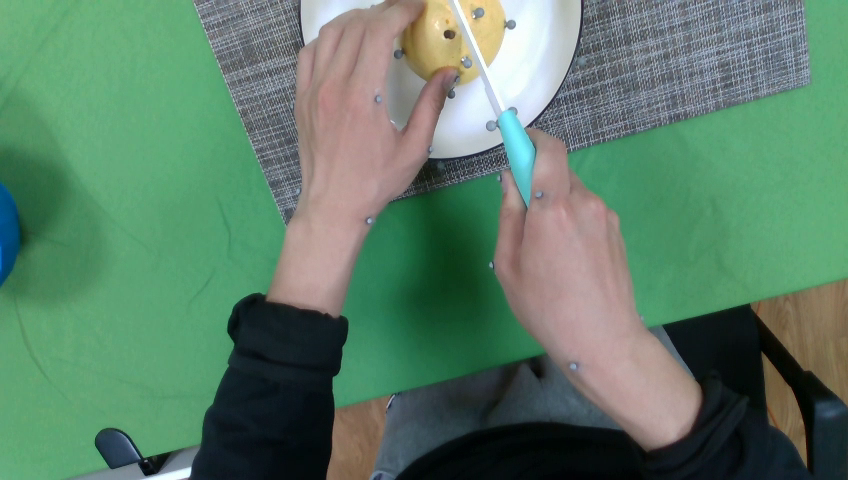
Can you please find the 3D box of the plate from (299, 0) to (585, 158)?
[{"bbox_3d":[0.013,-0.168,0.456,0.207,0.039,0.209,1,111,3],"label":"plate"}]

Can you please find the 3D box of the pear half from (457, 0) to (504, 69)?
[{"bbox_3d":[0.039,-0.156,0.422,0.031,0.087,0.071,-24,106,12],"label":"pear half"}]

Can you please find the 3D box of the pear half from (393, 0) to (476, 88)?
[{"bbox_3d":[0.006,-0.140,0.420,0.056,0.109,0.077,-24,104,11],"label":"pear half"}]

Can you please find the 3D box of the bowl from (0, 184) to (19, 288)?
[{"bbox_3d":[-0.410,-0.015,0.517,0.151,0.076,0.152,1,111,3],"label":"bowl"}]

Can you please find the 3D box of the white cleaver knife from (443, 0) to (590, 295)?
[{"bbox_3d":[0.042,-0.091,0.368,0.021,0.065,0.288,-23,107,9],"label":"white cleaver knife"}]
